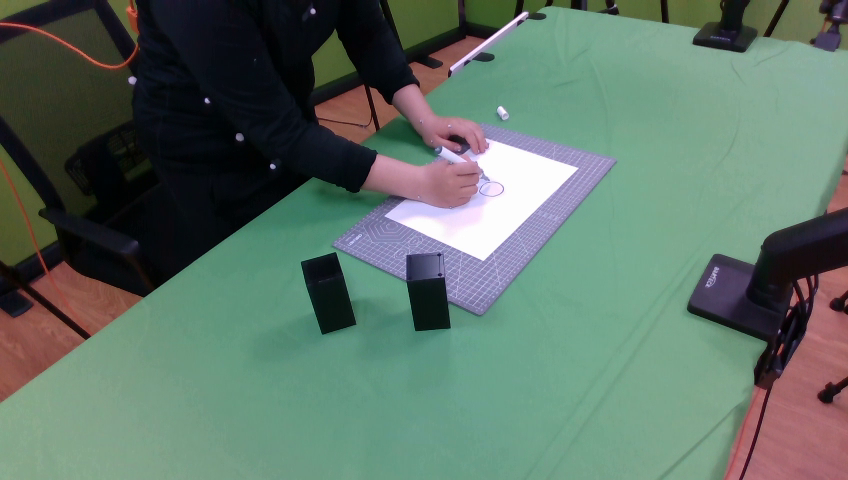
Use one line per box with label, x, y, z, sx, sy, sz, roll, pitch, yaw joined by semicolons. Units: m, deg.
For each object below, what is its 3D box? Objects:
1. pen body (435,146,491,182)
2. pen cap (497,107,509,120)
pen body;0.070;-0.125;1.029;0.017;0.145;0.017;-19;60;38
pen cap;0.164;-0.264;1.262;0.017;0.017;0.038;-14;41;-7
